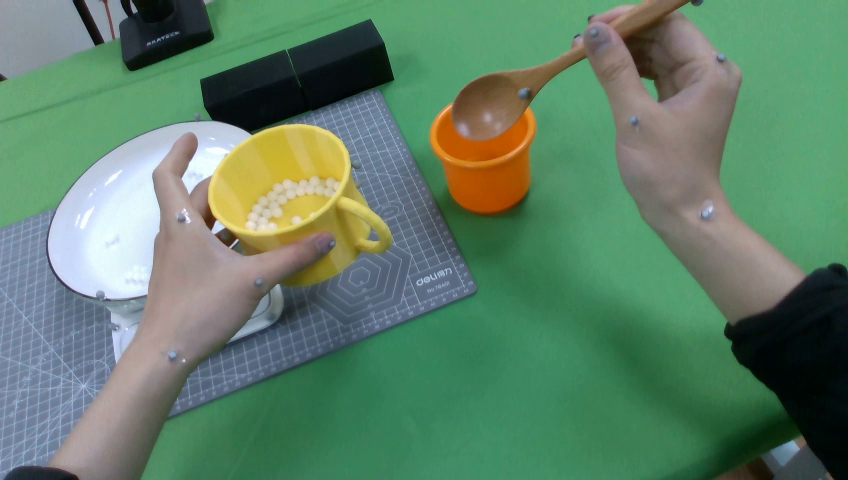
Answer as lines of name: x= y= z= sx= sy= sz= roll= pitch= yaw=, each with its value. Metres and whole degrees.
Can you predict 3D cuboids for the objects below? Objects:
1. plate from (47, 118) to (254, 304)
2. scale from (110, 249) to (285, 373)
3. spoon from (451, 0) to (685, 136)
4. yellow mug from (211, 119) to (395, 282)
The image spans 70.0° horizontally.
plate: x=-0.232 y=-0.028 z=0.553 sx=0.209 sy=0.038 sz=0.207 roll=-5 pitch=53 yaw=7
scale: x=-0.217 y=0.012 z=0.561 sx=0.149 sy=0.032 sz=0.198 roll=-22 pitch=53 yaw=-4
spoon: x=0.091 y=-0.112 z=0.359 sx=0.193 sy=0.042 sz=0.021 roll=-22 pitch=10 yaw=43
yellow mug: x=-0.079 y=-0.025 z=0.432 sx=0.130 sy=0.064 sz=0.099 roll=17 pitch=61 yaw=21
